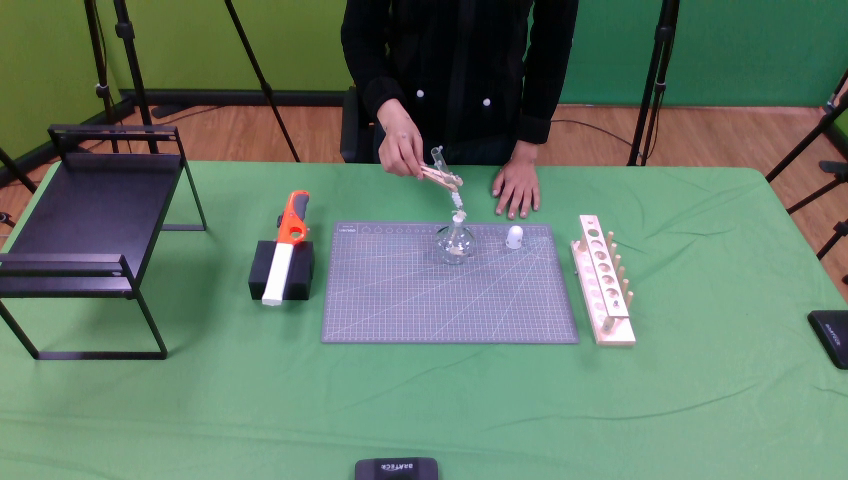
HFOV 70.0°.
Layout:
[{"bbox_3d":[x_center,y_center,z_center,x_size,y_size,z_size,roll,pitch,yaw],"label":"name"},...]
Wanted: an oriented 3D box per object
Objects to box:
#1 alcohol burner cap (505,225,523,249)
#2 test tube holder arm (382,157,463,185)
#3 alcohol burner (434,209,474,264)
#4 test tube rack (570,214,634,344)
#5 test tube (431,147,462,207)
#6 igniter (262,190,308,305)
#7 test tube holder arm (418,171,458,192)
[{"bbox_3d":[0.180,-0.009,1.203,0.034,0.048,0.033,2,47,-2],"label":"alcohol burner cap"},{"bbox_3d":[-0.006,-0.123,1.080,0.177,0.015,0.013,21,70,35],"label":"test tube holder arm"},{"bbox_3d":[0.058,-0.012,1.147,0.078,0.119,0.077,3,45,-3],"label":"alcohol burner"},{"bbox_3d":[0.333,0.067,1.116,0.067,0.085,0.241,1,46,-3],"label":"test tube rack"},{"bbox_3d":[0.040,-0.104,1.035,0.017,0.151,0.017,-11,53,15],"label":"test tube"},{"bbox_3d":[-0.252,0.004,1.107,0.057,0.025,0.275,7,47,-6],"label":"igniter"},{"bbox_3d":[0.024,-0.104,1.052,0.087,0.015,0.010,31,76,37],"label":"test tube holder arm"}]
